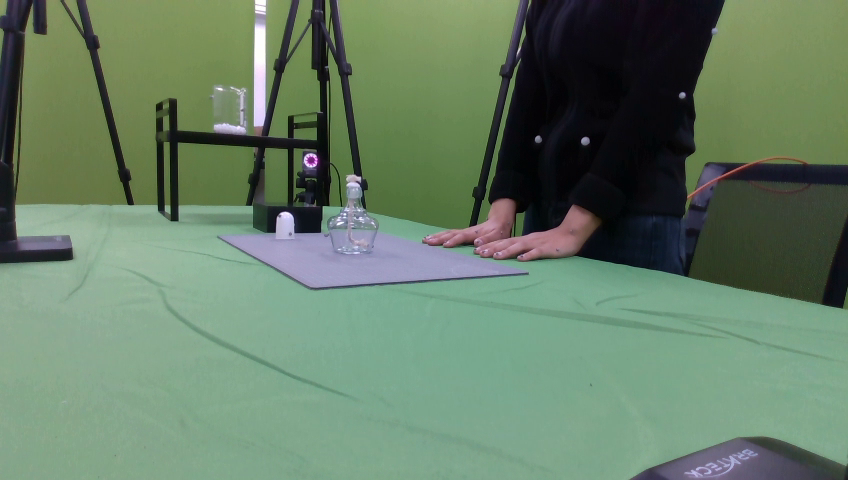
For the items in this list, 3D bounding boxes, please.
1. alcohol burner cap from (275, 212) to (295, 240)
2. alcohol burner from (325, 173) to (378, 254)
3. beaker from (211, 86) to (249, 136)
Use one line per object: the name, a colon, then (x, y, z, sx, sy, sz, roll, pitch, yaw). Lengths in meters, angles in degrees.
alcohol burner cap: (-0.233, -0.024, 1.013, 0.034, 0.048, 0.034, 1, 7, 0)
alcohol burner: (-0.107, -0.040, 0.896, 0.078, 0.119, 0.078, 2, 5, 0)
beaker: (-0.413, -0.274, 1.297, 0.074, 0.100, 0.083, -5, 11, -44)
